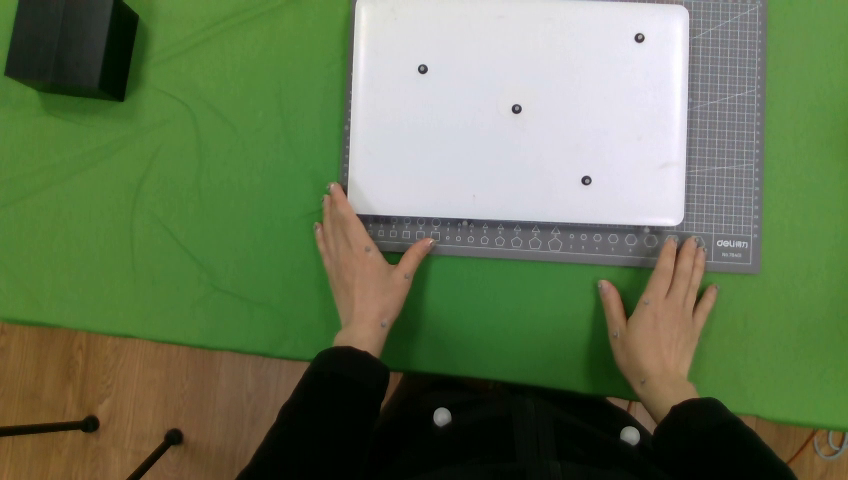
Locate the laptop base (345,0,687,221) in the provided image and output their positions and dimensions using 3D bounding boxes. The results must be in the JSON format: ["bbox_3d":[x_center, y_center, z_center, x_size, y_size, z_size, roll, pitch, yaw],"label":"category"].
[{"bbox_3d":[0.096,-0.143,0.646,0.354,0.023,0.235,2,90,1],"label":"laptop base"}]

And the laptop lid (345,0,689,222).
[{"bbox_3d":[0.096,-0.141,0.634,0.357,0.013,0.241,4,89,1],"label":"laptop lid"}]
